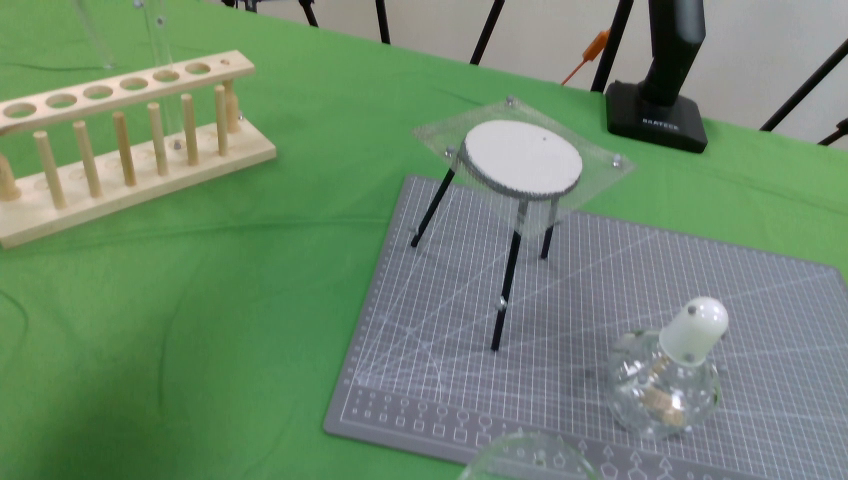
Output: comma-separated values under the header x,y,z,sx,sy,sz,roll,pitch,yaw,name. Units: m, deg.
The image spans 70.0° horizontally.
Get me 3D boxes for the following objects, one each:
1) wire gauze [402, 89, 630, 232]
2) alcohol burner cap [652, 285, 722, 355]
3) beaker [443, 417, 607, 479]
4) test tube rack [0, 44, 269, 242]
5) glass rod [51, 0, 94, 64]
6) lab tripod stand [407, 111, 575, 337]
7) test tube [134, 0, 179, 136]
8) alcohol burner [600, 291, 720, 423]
x,y,z,sx,sy,sz,roll,pitch,yaw,name
0.066,-0.067,0.433,0.121,0.011,0.124,-28,57,-33,wire gauze
0.173,0.050,0.394,0.034,0.048,0.033,5,48,-6,alcohol burner cap
0.044,0.154,0.326,0.084,0.101,0.073,5,43,-5,beaker
-0.259,-0.093,0.525,0.242,0.086,0.066,-28,56,-34,test tube rack
-0.231,-0.182,0.335,0.008,0.201,0.008,-1,53,1,glass rod
0.058,-0.019,0.479,0.149,0.132,0.147,7,45,-7,lab tripod stand
-0.233,-0.158,0.526,0.017,0.151,0.017,4,40,-3,test tube
0.168,0.074,0.420,0.078,0.120,0.077,8,43,-7,alcohol burner
